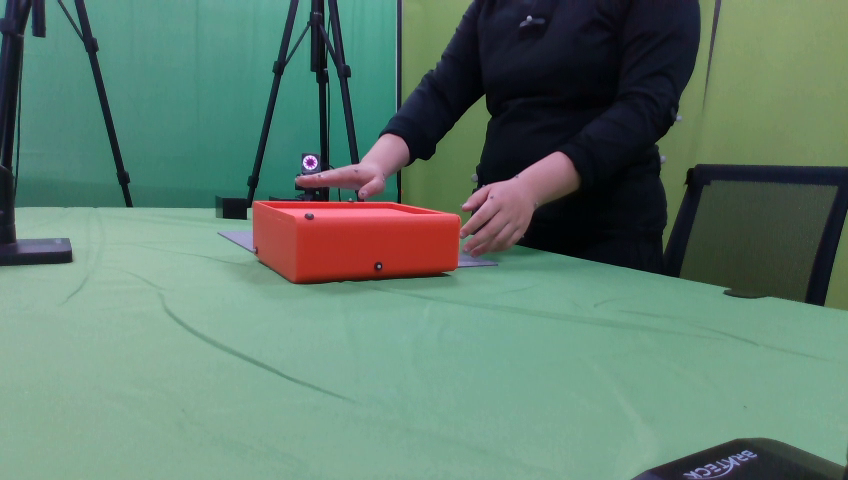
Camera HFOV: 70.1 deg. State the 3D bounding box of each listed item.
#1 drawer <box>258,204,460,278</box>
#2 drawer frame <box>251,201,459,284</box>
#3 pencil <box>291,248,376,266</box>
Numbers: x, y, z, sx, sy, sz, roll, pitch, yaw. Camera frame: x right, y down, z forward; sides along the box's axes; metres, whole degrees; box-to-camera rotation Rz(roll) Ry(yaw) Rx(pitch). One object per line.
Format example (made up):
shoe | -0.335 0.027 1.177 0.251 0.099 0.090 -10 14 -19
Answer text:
drawer | -0.090 -0.004 0.793 0.213 0.073 0.193 -3 10 -29
drawer frame | -0.094 -0.005 0.788 0.215 0.082 0.200 -3 10 -30
pencil | -0.112 0.020 0.793 0.012 0.012 0.195 6 6 25
